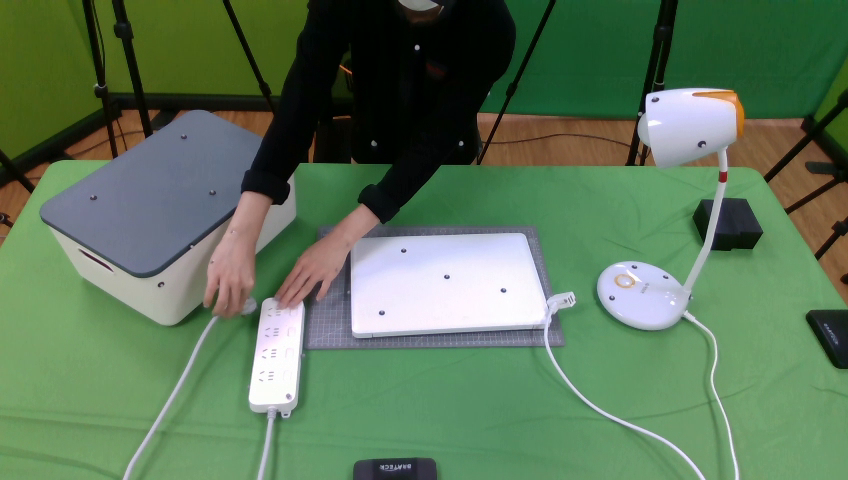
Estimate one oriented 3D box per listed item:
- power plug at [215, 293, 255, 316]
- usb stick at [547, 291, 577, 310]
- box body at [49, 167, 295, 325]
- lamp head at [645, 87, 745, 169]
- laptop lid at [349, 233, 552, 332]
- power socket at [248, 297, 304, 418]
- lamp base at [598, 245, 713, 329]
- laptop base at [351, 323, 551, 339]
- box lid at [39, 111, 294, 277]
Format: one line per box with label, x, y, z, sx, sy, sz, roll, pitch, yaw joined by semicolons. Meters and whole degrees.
power plug;-0.324;0.113;1.033;0.073;0.053;0.035;-11;55;-30
usb stick;0.241;0.110;1.086;0.027;0.059;0.021;-35;102;-42
box body;-0.437;-0.046;1.110;0.253;0.161;0.363;24;49;19
lamp head;0.382;-0.161;0.851;0.122;0.113;0.112;-4;42;25
laptop lid;0.040;0.070;1.119;0.357;0.013;0.240;-1;44;-5
power socket;-0.240;0.182;0.996;0.072;0.033;0.225;-1;46;-4
lamp base;0.420;0.051;1.071;0.179;0.181;0.160;22;49;13
laptop base;0.040;0.080;1.125;0.355;0.023;0.234;-2;43;-6
box lid;-0.434;-0.097;1.055;0.262;0.015;0.370;25;49;18
